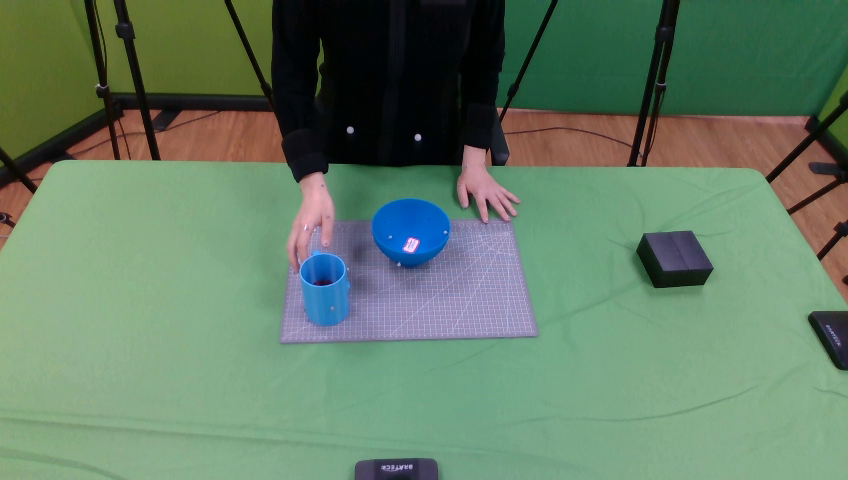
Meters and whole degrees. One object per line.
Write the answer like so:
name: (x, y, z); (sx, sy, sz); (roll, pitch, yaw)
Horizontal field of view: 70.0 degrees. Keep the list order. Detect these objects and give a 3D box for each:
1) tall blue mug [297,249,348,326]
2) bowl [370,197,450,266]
tall blue mug: (-0.183, 0.077, 1.045); (0.106, 0.108, 0.078); (35, 55, 27)
bowl: (-0.028, -0.003, 1.156); (0.151, 0.077, 0.150); (2, 46, -2)
